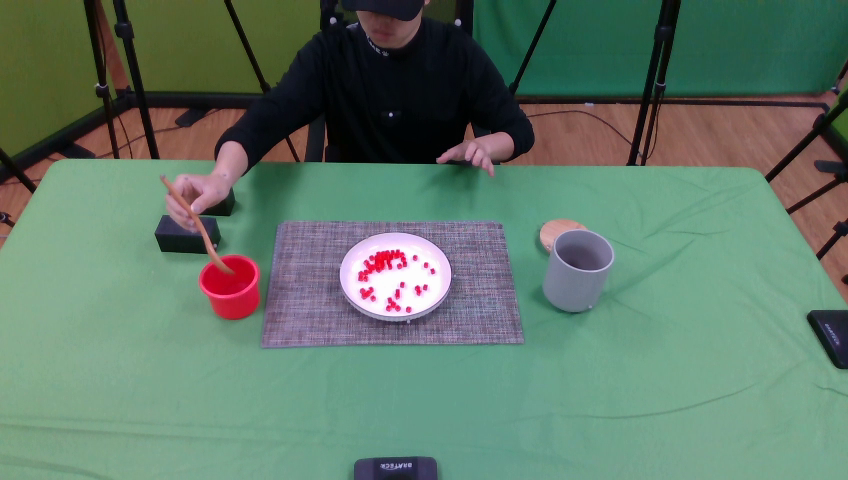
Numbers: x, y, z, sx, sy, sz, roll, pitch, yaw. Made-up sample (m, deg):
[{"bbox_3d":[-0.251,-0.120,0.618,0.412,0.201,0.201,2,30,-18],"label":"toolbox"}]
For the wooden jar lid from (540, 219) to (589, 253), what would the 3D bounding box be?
[{"bbox_3d":[0.286,0.001,1.218,0.108,0.021,0.107,1,46,-1],"label":"wooden jar lid"}]

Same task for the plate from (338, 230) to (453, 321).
[{"bbox_3d":[-0.052,0.068,1.111,0.208,0.039,0.206,2,46,-2],"label":"plate"}]

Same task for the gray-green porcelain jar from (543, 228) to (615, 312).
[{"bbox_3d":[0.273,0.059,1.087,0.106,0.127,0.105,2,46,-2],"label":"gray-green porcelain jar"}]

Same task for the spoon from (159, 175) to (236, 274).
[{"bbox_3d":[-0.365,-0.021,0.977,0.021,0.194,0.041,-33,16,-20],"label":"spoon"}]
